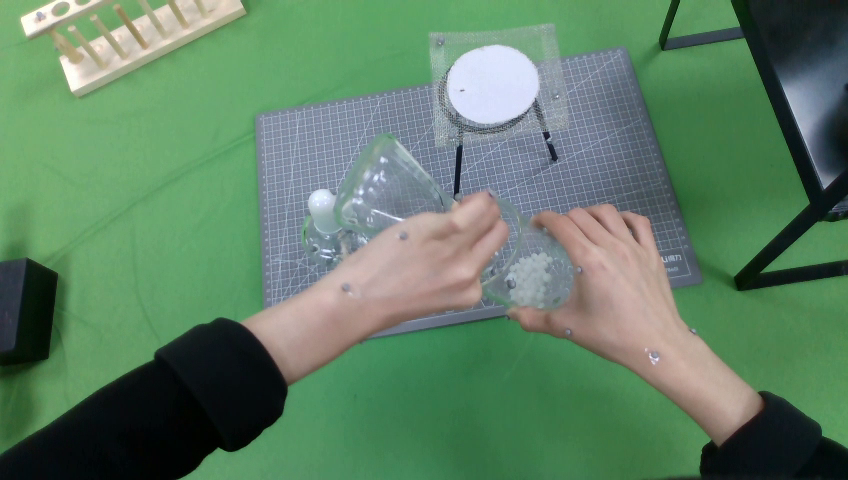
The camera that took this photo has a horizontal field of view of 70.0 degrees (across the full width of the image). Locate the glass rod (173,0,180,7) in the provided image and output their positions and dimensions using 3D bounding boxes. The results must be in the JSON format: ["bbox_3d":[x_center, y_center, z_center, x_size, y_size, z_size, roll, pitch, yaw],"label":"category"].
[{"bbox_3d":[-0.327,-0.350,0.711,0.008,0.201,0.008,0,66,1],"label":"glass rod"}]

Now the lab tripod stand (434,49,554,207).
[{"bbox_3d":[0.065,-0.119,0.620,0.148,0.132,0.147,-2,67,4],"label":"lab tripod stand"}]

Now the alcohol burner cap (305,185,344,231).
[{"bbox_3d":[-0.097,-0.033,0.576,0.034,0.048,0.033,-2,61,4],"label":"alcohol burner cap"}]

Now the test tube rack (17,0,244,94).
[{"bbox_3d":[-0.362,-0.285,0.761,0.242,0.086,0.066,-29,68,-5],"label":"test tube rack"}]

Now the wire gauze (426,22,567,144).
[{"bbox_3d":[0.065,-0.149,0.559,0.121,0.011,0.124,-4,69,3],"label":"wire gauze"}]

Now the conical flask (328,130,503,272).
[{"bbox_3d":[-0.001,-0.021,0.442,0.122,0.075,0.075,29,72,-16],"label":"conical flask"}]

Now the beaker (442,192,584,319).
[{"bbox_3d":[0.073,0.019,0.486,0.084,0.101,0.073,-41,42,25],"label":"beaker"}]

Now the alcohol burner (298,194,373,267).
[{"bbox_3d":[-0.092,-0.018,0.609,0.078,0.120,0.077,-2,67,4],"label":"alcohol burner"}]
